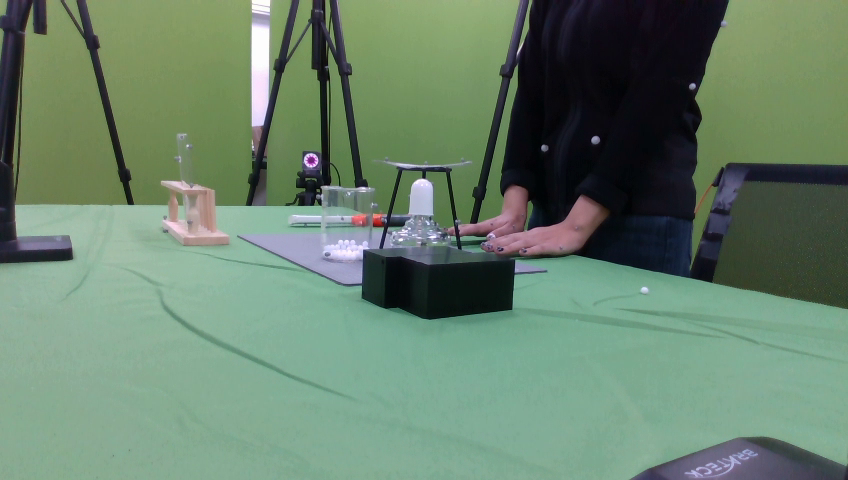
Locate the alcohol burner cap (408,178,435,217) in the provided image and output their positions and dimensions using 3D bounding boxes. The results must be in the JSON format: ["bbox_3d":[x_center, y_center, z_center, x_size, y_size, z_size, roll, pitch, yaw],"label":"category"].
[{"bbox_3d":[-0.002,-0.053,0.746,0.034,0.048,0.034,2,3,0],"label":"alcohol burner cap"}]

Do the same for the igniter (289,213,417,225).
[{"bbox_3d":[-0.144,-0.044,1.275,0.278,0.025,0.057,-1,-2,-27],"label":"igniter"}]

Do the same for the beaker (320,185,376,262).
[{"bbox_3d":[-0.105,-0.024,0.826,0.074,0.100,0.084,2,7,-7],"label":"beaker"}]

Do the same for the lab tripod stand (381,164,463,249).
[{"bbox_3d":[-0.003,-0.055,0.967,0.148,0.131,0.148,2,9,0],"label":"lab tripod stand"}]

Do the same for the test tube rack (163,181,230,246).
[{"bbox_3d":[-0.387,-0.050,1.015,0.067,0.085,0.241,-2,9,-30],"label":"test tube rack"}]

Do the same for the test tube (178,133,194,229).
[{"bbox_3d":[-0.367,-0.089,0.939,0.017,0.150,0.017,-2,8,1],"label":"test tube"}]

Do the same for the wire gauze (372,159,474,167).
[{"bbox_3d":[-0.004,-0.122,0.959,0.122,0.011,0.124,-4,9,-33],"label":"wire gauze"}]

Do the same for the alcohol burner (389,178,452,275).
[{"bbox_3d":[-0.004,-0.017,0.749,0.078,0.119,0.078,1,9,0],"label":"alcohol burner"}]
